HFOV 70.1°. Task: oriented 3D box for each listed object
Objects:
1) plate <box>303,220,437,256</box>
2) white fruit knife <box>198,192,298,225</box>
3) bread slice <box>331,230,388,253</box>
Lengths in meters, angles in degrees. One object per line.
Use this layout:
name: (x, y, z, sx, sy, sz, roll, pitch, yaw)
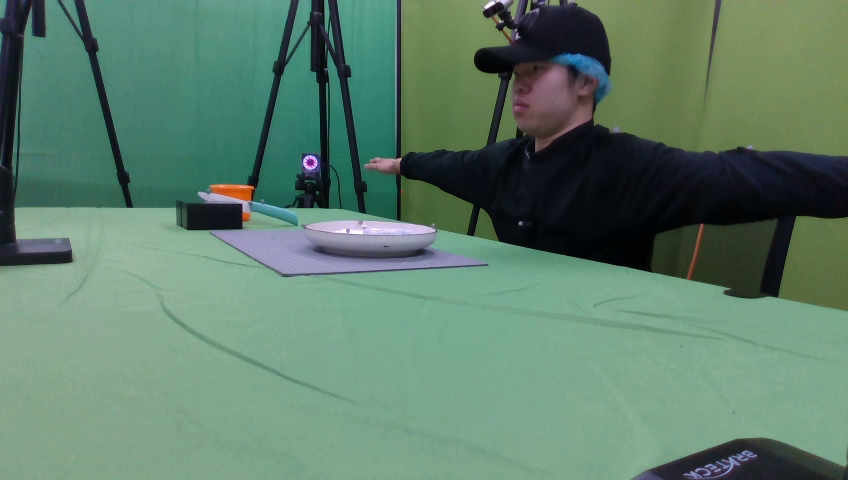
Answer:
plate: (-0.084, -0.003, 0.951, 0.209, 0.038, 0.209, 3, 7, 0)
white fruit knife: (-0.351, -0.068, 1.224, 0.208, 0.027, 0.016, 15, -1, -33)
bread slice: (-0.088, 0.000, 0.947, 0.105, 0.019, 0.131, -4, 11, -45)
